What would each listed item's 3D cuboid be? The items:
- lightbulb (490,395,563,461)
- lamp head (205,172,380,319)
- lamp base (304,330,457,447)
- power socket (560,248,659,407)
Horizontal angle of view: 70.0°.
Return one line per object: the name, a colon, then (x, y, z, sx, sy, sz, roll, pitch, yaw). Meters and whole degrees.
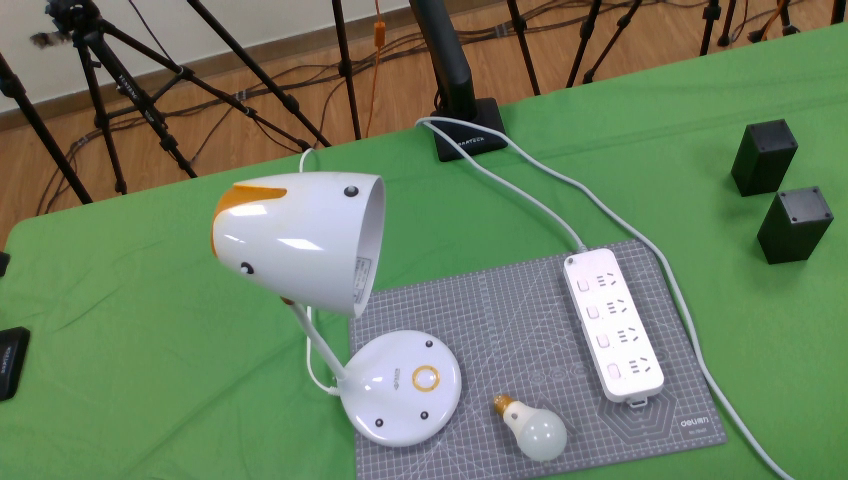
lightbulb: (0.121, 0.224, 0.740, 0.059, 0.060, 0.106, -44, 44, -16)
lamp head: (-0.100, 0.000, 0.468, 0.123, 0.113, 0.111, 6, 59, 8)
lamp base: (-0.061, 0.157, 0.744, 0.179, 0.182, 0.159, -15, 55, 6)
power socket: (0.240, 0.107, 0.800, 0.072, 0.033, 0.224, -13, 55, 3)
